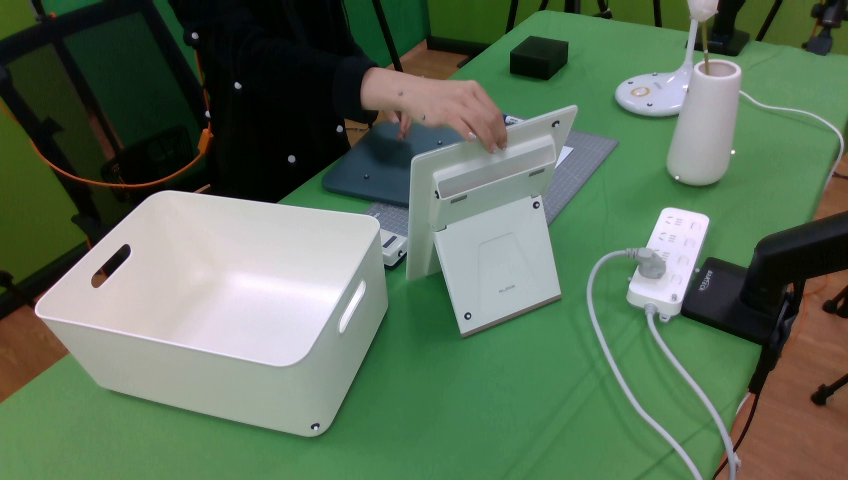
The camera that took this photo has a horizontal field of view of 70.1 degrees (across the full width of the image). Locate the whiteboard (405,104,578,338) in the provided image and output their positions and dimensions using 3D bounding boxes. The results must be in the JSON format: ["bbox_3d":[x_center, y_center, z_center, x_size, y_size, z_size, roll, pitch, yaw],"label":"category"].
[{"bbox_3d":[0.103,0.003,0.786,0.218,0.306,0.143,-19,62,-14],"label":"whiteboard"}]

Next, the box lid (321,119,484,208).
[{"bbox_3d":[0.017,-0.141,1.145,0.369,0.015,0.263,12,44,22],"label":"box lid"}]

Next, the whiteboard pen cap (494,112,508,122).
[{"bbox_3d":[0.161,-0.253,1.248,0.033,0.018,0.018,27,51,36],"label":"whiteboard pen cap"}]

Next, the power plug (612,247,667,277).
[{"bbox_3d":[0.306,0.031,0.852,0.072,0.053,0.035,21,48,37],"label":"power plug"}]

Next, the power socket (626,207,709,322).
[{"bbox_3d":[0.360,0.026,0.886,0.072,0.033,0.227,17,46,27],"label":"power socket"}]

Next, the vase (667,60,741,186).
[{"bbox_3d":[0.463,-0.189,0.994,0.098,0.201,0.097,-4,40,4],"label":"vase"}]

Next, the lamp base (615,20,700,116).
[{"bbox_3d":[0.484,-0.364,1.211,0.180,0.181,0.159,-15,41,-14],"label":"lamp base"}]

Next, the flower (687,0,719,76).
[{"bbox_3d":[0.436,-0.242,0.934,0.038,0.364,0.043,-24,49,9],"label":"flower"}]

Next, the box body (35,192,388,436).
[{"bbox_3d":[-0.251,0.087,0.800,0.362,0.161,0.254,7,42,16],"label":"box body"}]

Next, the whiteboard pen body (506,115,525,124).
[{"bbox_3d":[0.203,-0.232,1.213,0.139,0.017,0.017,28,51,36],"label":"whiteboard pen body"}]

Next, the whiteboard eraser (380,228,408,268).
[{"bbox_3d":[-0.081,0.007,0.963,0.112,0.042,0.056,19,48,27],"label":"whiteboard eraser"}]
